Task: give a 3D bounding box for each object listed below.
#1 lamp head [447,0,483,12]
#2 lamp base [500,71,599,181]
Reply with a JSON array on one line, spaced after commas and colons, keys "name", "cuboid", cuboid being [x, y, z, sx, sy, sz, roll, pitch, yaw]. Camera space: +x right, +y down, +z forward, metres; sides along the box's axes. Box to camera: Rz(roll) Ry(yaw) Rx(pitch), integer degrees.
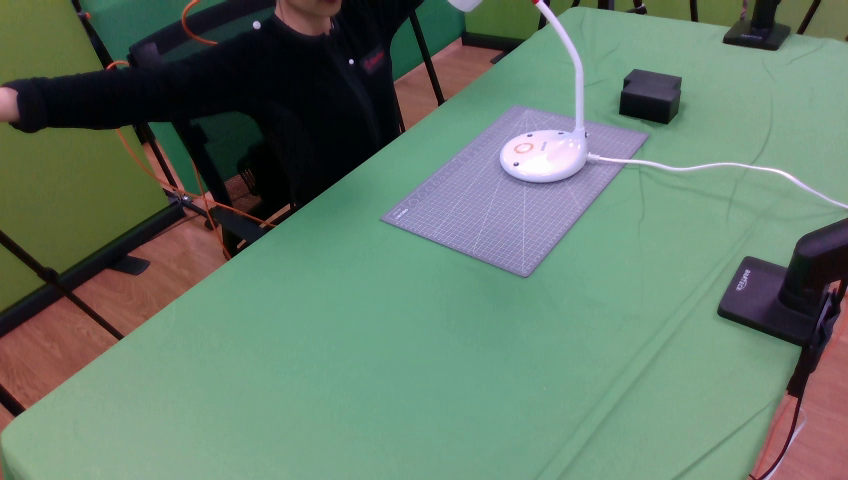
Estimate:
[{"name": "lamp head", "cuboid": [0.084, -0.422, 0.915, 0.122, 0.113, 0.112, -21, 31, 36]}, {"name": "lamp base", "cuboid": [0.223, -0.217, 1.068, 0.179, 0.181, 0.160, 2, 42, 10]}]
